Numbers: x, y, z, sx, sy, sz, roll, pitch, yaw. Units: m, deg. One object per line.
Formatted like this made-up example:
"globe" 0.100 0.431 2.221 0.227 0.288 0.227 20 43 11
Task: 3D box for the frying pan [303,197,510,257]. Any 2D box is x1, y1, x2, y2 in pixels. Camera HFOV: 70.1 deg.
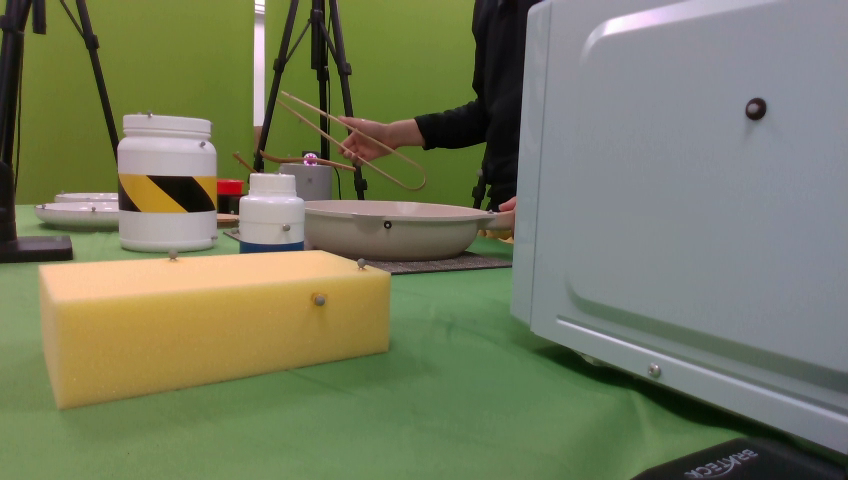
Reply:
"frying pan" 0.050 -0.035 0.915 0.487 0.102 0.307 -5 7 10

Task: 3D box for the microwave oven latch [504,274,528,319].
"microwave oven latch" 0.100 0.041 0.471 0.079 0.029 0.030 -1 7 -28

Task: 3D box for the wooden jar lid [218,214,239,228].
"wooden jar lid" -0.404 -0.037 1.169 0.108 0.020 0.108 3 7 0

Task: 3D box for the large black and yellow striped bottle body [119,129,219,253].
"large black and yellow striped bottle body" -0.367 -0.079 0.876 0.131 0.184 0.130 2 7 0

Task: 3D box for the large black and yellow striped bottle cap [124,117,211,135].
"large black and yellow striped bottle cap" -0.366 -0.163 0.866 0.115 0.019 0.115 3 7 0

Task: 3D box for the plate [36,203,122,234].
"plate" -0.571 -0.040 1.083 0.208 0.039 0.207 2 8 0

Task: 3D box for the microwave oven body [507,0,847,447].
"microwave oven body" 0.331 -0.042 0.425 0.444 0.260 0.324 -2 8 -31

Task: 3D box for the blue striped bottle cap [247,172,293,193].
"blue striped bottle cap" -0.152 -0.057 0.598 0.044 0.020 0.044 3 7 0

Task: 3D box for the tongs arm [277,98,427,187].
"tongs arm" -0.166 -0.217 1.365 0.387 0.028 0.028 31 -8 2

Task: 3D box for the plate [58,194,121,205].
"plate" -0.671 -0.074 1.310 0.209 0.038 0.209 2 8 0

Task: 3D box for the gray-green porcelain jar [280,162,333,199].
"gray-green porcelain jar" -0.238 -0.092 1.221 0.106 0.126 0.106 2 7 0

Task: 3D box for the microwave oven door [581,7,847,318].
"microwave oven door" 0.295 -0.067 0.569 0.358 0.243 0.039 -3 8 -31

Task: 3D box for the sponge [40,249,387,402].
"sponge" -0.142 0.047 0.419 0.208 0.061 0.117 -3 8 -36

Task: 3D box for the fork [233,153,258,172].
"fork" -0.396 -0.143 1.486 0.028 0.018 0.208 20 -26 45

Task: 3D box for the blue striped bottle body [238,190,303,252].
"blue striped bottle body" -0.153 -0.007 0.606 0.063 0.120 0.063 2 8 0

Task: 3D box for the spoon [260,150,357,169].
"spoon" -0.231 -0.162 1.221 0.194 0.021 0.041 3 3 -16

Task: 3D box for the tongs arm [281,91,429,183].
"tongs arm" -0.157 -0.232 1.366 0.385 0.050 0.026 25 -5 2
